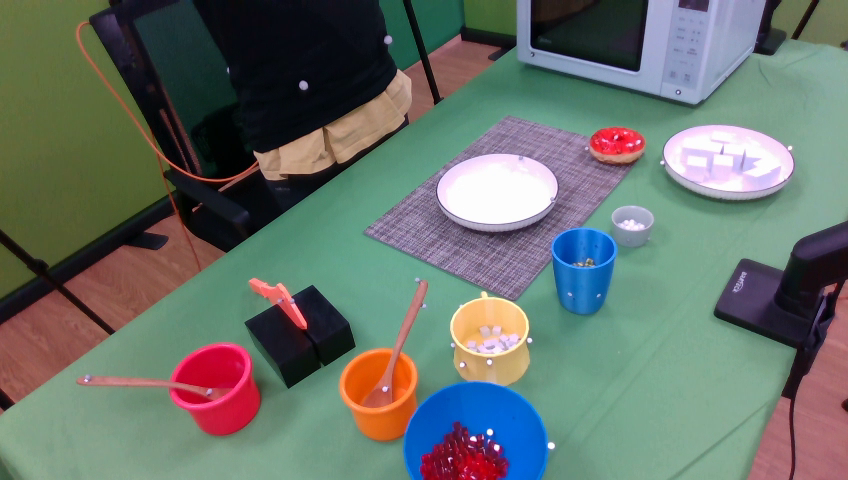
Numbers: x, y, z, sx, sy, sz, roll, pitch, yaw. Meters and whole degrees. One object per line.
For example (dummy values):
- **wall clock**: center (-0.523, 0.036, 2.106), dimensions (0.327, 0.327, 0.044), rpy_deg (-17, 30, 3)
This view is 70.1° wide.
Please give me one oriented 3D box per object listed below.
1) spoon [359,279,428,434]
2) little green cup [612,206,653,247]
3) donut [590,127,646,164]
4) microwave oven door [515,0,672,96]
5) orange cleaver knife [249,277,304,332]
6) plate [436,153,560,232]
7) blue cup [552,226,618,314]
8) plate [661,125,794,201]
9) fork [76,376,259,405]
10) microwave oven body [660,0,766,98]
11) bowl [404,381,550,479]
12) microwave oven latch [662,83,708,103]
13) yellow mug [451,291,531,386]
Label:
- **spoon**: center (-0.032, 0.138, 0.719), dimensions (0.041, 0.193, 0.022), rpy_deg (22, 4, 30)
- **little green cup**: center (0.321, -0.019, 0.936), dimensions (0.061, 0.039, 0.061), rpy_deg (-4, 41, 4)
- **donut**: center (0.353, -0.174, 1.103), dimensions (0.099, 0.048, 0.098), rpy_deg (-4, 38, 4)
- **microwave oven door**: center (0.344, -0.454, 1.259), dimensions (0.353, 0.245, 0.039), rpy_deg (26, 51, 33)
- **orange cleaver knife**: center (-0.210, 0.089, 0.855), dimensions (0.012, 0.077, 0.210), rpy_deg (-27, 14, -25)
- **plate**: center (0.125, -0.078, 1.029), dimensions (0.209, 0.038, 0.208), rpy_deg (-4, 40, 4)
- **blue cup**: center (0.217, 0.047, 0.825), dimensions (0.092, 0.100, 0.092), rpy_deg (-6, 40, 5)
- **plate**: center (0.513, -0.128, 1.035), dimensions (0.207, 0.039, 0.206), rpy_deg (-4, 40, 4)
- **fork**: center (-0.295, 0.176, 0.716), dimensions (0.209, 0.018, 0.028), rpy_deg (19, 26, -36)
- **microwave oven body**: center (0.472, -0.513, 1.317), dimensions (0.438, 0.261, 0.327), rpy_deg (26, 51, 34)
- **bowl**: center (0.058, 0.235, 0.645), dimensions (0.151, 0.077, 0.150), rpy_deg (-4, 39, 4)
- **microwave oven latch**: center (0.517, -0.296, 1.204), dimensions (0.078, 0.029, 0.030), rpy_deg (28, 52, 35)
- **yellow mug**: center (0.085, 0.120, 0.786), dimensions (0.100, 0.064, 0.130), rpy_deg (-7, 39, 1)
